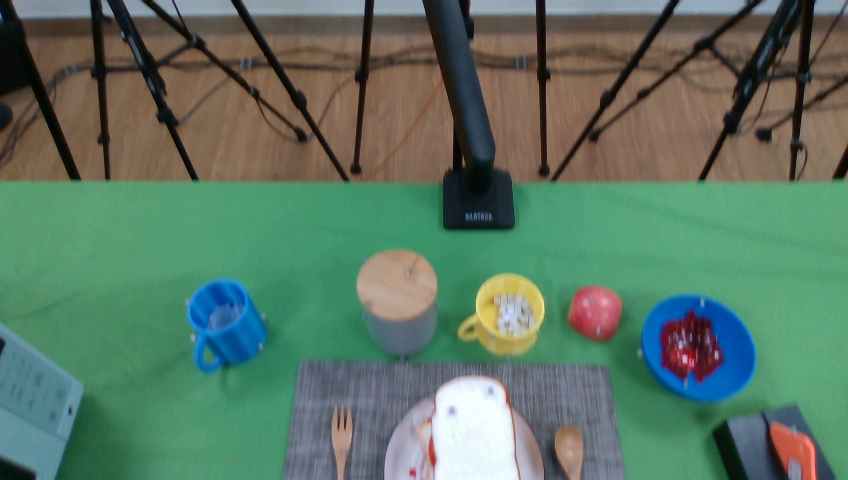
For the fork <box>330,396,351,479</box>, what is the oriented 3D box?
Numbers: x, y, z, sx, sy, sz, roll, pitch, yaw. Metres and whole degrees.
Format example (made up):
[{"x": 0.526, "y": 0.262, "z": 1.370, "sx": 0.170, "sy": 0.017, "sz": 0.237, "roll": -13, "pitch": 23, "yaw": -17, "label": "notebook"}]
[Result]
[{"x": -0.110, "y": 0.306, "z": 0.789, "sx": 0.028, "sy": 0.019, "sz": 0.205, "roll": 3, "pitch": 56, "yaw": -11, "label": "fork"}]

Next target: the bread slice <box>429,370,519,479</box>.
[{"x": 0.055, "y": 0.222, "z": 0.724, "sx": 0.105, "sy": 0.019, "sz": 0.130, "roll": -5, "pitch": 71, "yaw": 5, "label": "bread slice"}]

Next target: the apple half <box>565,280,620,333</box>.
[{"x": 0.254, "y": 0.092, "z": 0.905, "sx": 0.074, "sy": 0.054, "sz": 0.080, "roll": 19, "pitch": 60, "yaw": 15, "label": "apple half"}]

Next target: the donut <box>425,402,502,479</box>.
[{"x": 0.051, "y": 0.257, "z": 0.775, "sx": 0.099, "sy": 0.048, "sz": 0.098, "roll": 0, "pitch": 58, "yaw": 0, "label": "donut"}]

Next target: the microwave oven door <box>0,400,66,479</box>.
[{"x": -0.500, "y": 0.344, "z": 0.619, "sx": 0.039, "sy": 0.246, "sz": 0.352, "roll": 0, "pitch": 58, "yaw": 1, "label": "microwave oven door"}]

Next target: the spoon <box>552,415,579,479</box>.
[{"x": 0.193, "y": 0.322, "z": 0.774, "sx": 0.042, "sy": 0.022, "sz": 0.192, "roll": 9, "pitch": 56, "yaw": -19, "label": "spoon"}]

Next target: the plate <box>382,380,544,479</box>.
[{"x": 0.050, "y": 0.285, "z": 0.791, "sx": 0.208, "sy": 0.039, "sz": 0.205, "roll": 0, "pitch": 58, "yaw": 0, "label": "plate"}]

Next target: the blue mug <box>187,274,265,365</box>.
[{"x": -0.287, "y": 0.122, "z": 0.858, "sx": 0.082, "sy": 0.107, "sz": 0.116, "roll": 18, "pitch": 60, "yaw": 12, "label": "blue mug"}]

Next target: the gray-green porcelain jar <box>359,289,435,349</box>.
[{"x": -0.036, "y": 0.090, "z": 0.865, "sx": 0.106, "sy": 0.127, "sz": 0.105, "roll": 0, "pitch": 58, "yaw": 1, "label": "gray-green porcelain jar"}]

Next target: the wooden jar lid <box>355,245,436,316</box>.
[{"x": -0.038, "y": 0.055, "z": 0.811, "sx": 0.108, "sy": 0.021, "sz": 0.107, "roll": 1, "pitch": 56, "yaw": -1, "label": "wooden jar lid"}]

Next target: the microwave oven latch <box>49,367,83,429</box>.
[{"x": -0.492, "y": 0.213, "z": 0.821, "sx": 0.030, "sy": 0.030, "sz": 0.078, "roll": 4, "pitch": 59, "yaw": 2, "label": "microwave oven latch"}]

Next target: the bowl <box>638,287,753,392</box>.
[{"x": 0.369, "y": 0.150, "z": 0.852, "sx": 0.151, "sy": 0.077, "sz": 0.150, "roll": 0, "pitch": 58, "yaw": 1, "label": "bowl"}]

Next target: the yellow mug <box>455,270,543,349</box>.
[{"x": 0.106, "y": 0.107, "z": 0.889, "sx": 0.131, "sy": 0.064, "sz": 0.099, "roll": -19, "pitch": 60, "yaw": -10, "label": "yellow mug"}]

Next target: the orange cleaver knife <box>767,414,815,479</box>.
[{"x": 0.465, "y": 0.322, "z": 0.743, "sx": 0.012, "sy": 0.077, "sz": 0.210, "roll": -6, "pitch": 80, "yaw": -11, "label": "orange cleaver knife"}]

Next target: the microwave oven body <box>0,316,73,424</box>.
[{"x": -0.644, "y": 0.309, "z": 0.648, "sx": 0.326, "sy": 0.262, "sz": 0.437, "roll": 1, "pitch": 59, "yaw": 1, "label": "microwave oven body"}]

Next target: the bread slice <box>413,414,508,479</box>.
[{"x": 0.055, "y": 0.283, "z": 0.792, "sx": 0.107, "sy": 0.018, "sz": 0.133, "roll": -15, "pitch": 60, "yaw": -7, "label": "bread slice"}]
